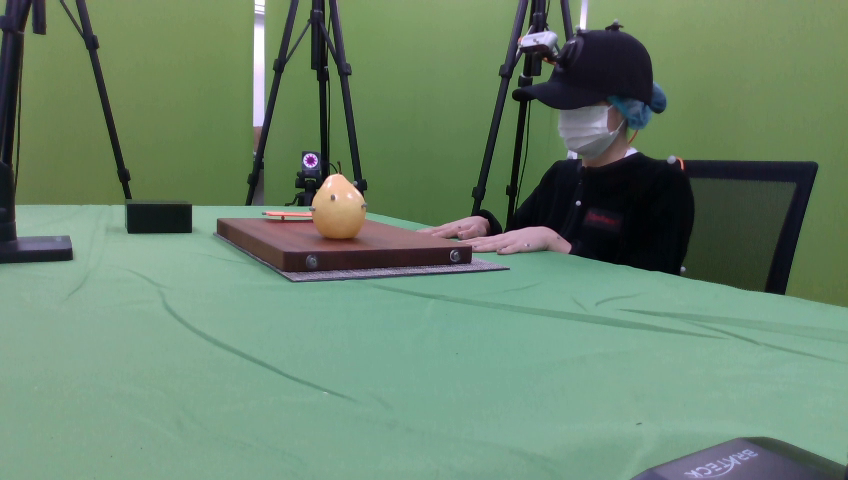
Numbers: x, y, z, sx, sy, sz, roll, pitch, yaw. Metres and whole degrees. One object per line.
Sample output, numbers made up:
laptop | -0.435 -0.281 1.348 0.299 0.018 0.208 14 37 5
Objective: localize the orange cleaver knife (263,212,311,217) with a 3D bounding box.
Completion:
orange cleaver knife | -0.192 -0.045 1.097 0.212 0.012 0.077 0 4 -38

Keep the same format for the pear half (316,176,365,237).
pear half | -0.120 -0.049 0.874 0.070 0.088 0.031 -2 8 0

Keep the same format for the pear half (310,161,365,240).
pear half | -0.122 -0.055 0.837 0.076 0.110 0.056 -2 7 1
